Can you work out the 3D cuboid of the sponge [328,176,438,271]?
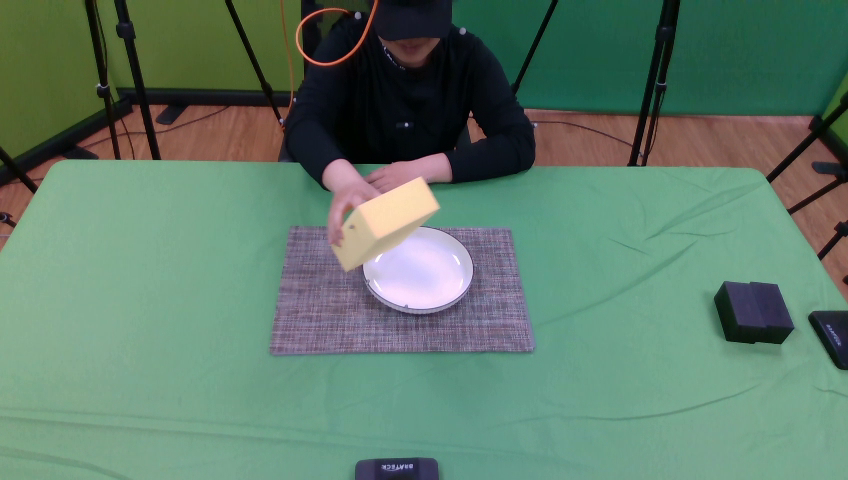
[{"bbox_3d":[-0.074,-0.021,0.999,0.118,0.207,0.061,-28,85,-26],"label":"sponge"}]

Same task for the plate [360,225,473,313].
[{"bbox_3d":[-0.014,0.057,1.126,0.208,0.039,0.206,2,46,-2],"label":"plate"}]
